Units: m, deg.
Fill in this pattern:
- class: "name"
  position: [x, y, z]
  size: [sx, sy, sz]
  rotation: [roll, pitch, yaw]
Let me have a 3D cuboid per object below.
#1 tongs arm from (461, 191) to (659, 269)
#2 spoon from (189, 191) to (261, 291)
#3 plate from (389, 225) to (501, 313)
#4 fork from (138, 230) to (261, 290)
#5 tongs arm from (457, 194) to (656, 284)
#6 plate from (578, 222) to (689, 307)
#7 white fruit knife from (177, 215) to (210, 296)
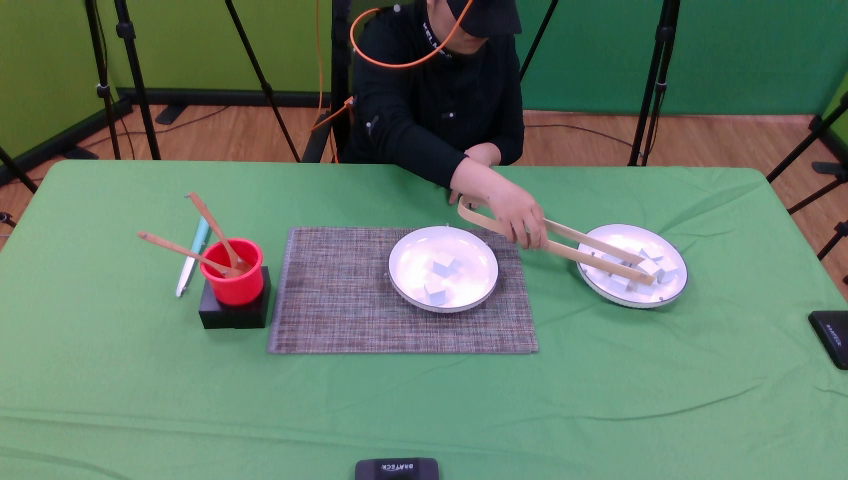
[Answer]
- class: "tongs arm"
  position: [0.251, -0.021, 1.150]
  size: [0.387, 0.028, 0.028]
  rotation: [21, 51, 9]
- class: "spoon"
  position: [-0.333, 0.001, 1.012]
  size: [0.041, 0.194, 0.021]
  rotation: [-34, 15, -25]
- class: "plate"
  position: [0.038, 0.057, 1.129]
  size: [0.208, 0.039, 0.206]
  rotation: [2, 46, -2]
- class: "fork"
  position: [-0.359, 0.032, 0.981]
  size: [0.208, 0.018, 0.028]
  rotation: [31, 59, -30]
- class: "tongs arm"
  position: [0.241, -0.003, 1.131]
  size: [0.384, 0.026, 0.050]
  rotation: [19, 47, 7]
- class: "plate"
  position: [0.396, 0.050, 1.165]
  size: [0.209, 0.038, 0.208]
  rotation: [2, 47, -2]
- class: "white fruit knife"
  position: [-0.435, 0.025, 1.148]
  size: [0.027, 0.016, 0.206]
  rotation: [-17, 45, 18]
